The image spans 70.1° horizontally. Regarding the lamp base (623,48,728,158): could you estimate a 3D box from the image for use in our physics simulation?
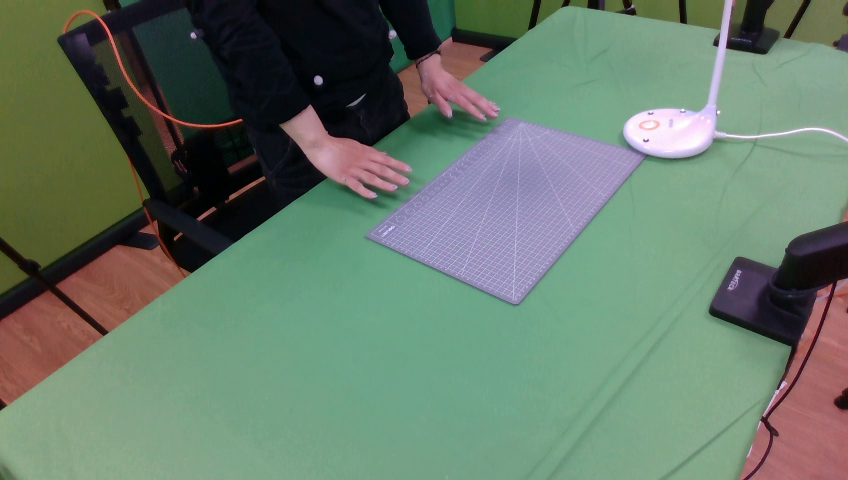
[{"bbox_3d":[0.462,-0.261,1.084,0.179,0.181,0.160,3,42,7],"label":"lamp base"}]
